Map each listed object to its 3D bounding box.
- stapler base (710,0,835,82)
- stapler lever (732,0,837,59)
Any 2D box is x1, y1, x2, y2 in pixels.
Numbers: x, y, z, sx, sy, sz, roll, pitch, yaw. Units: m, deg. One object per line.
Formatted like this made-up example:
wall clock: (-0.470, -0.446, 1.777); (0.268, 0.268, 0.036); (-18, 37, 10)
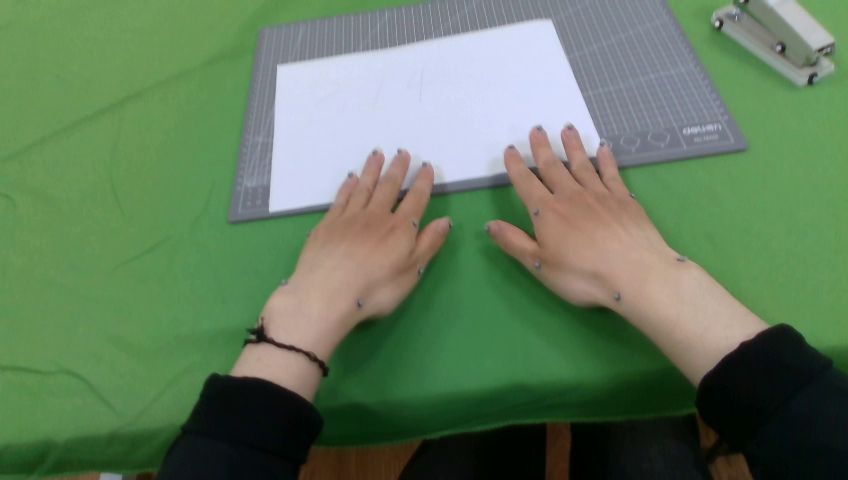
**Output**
stapler base: (0.329, -0.200, 0.575); (0.041, 0.025, 0.129); (-25, 55, -6)
stapler lever: (0.327, -0.213, 0.555); (0.027, 0.040, 0.117); (-25, 55, -6)
